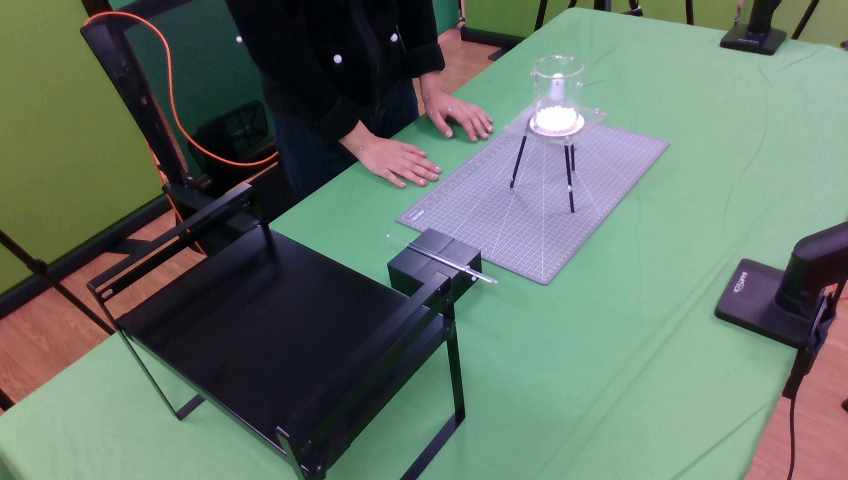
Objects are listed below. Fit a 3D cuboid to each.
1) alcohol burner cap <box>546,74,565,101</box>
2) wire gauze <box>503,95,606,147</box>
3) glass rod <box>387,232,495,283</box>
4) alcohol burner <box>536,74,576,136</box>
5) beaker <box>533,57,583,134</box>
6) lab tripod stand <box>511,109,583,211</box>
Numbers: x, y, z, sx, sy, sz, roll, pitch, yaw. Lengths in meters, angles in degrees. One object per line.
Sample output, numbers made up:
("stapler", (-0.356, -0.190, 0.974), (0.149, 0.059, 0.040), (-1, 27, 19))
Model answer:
("alcohol burner cap", (0.251, -0.292, 1.150), (0.034, 0.048, 0.033), (0, 41, 0))
("wire gauze", (0.212, -0.191, 0.976), (0.120, 0.011, 0.125), (24, 52, 32))
("glass rod", (0.020, 0.025, 0.880), (0.198, 0.008, 0.008), (24, 49, 32))
("alcohol burner", (0.256, -0.264, 1.173), (0.078, 0.119, 0.077), (-6, 40, 6))
("beaker", (0.208, -0.225, 0.941), (0.073, 0.101, 0.084), (10, 44, 20))
("lab tripod stand", (0.220, -0.138, 1.014), (0.148, 0.132, 0.147), (-3, 41, 3))
